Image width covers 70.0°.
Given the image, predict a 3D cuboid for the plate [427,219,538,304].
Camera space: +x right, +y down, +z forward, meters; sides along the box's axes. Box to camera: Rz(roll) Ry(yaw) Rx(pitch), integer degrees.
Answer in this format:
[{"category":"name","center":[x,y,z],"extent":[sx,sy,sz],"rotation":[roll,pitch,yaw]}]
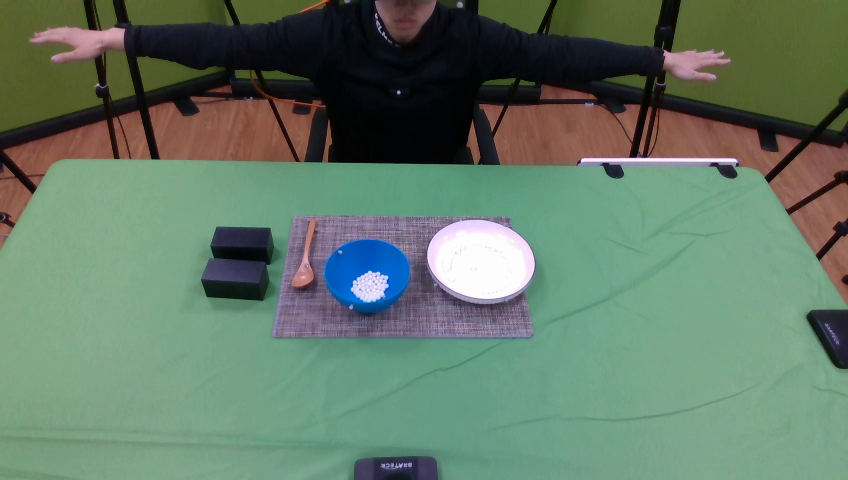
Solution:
[{"category":"plate","center":[0.109,0.044,1.149],"extent":[0.208,0.039,0.206],"rotation":[2,46,-2]}]

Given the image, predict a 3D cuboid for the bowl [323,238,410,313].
[{"category":"bowl","center":[-0.101,0.077,1.073],"extent":[0.151,0.077,0.150],"rotation":[2,46,-2]}]

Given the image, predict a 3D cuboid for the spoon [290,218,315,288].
[{"category":"spoon","center":[-0.224,0.021,1.156],"extent":[0.041,0.022,0.192],"rotation":[-11,46,10]}]
